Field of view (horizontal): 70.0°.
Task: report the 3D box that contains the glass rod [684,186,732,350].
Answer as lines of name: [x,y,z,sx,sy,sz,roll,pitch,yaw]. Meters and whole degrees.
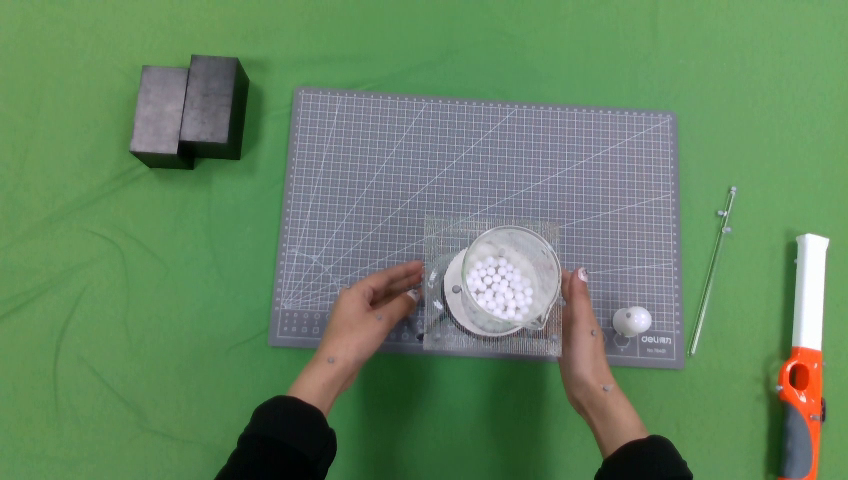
glass rod: [0.321,0.029,0.683,0.008,0.008,0.199,20,79,2]

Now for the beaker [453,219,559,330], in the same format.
beaker: [0.063,0.036,0.488,0.074,0.100,0.083,-28,79,-8]

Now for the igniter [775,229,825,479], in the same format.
igniter: [0.410,0.123,0.657,0.057,0.025,0.275,13,78,-10]

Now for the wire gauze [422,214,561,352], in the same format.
wire gauze: [0.059,0.036,0.537,0.125,0.011,0.121,2,76,1]

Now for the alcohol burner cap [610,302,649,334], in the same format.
alcohol burner cap: [0.222,0.082,0.648,0.034,0.048,0.033,0,76,-1]

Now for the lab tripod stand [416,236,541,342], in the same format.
lab tripod stand: [0.056,0.053,0.601,0.148,0.132,0.147,0,77,-1]

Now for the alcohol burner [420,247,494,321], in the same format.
alcohol burner: [0.035,0.042,0.612,0.078,0.119,0.077,1,76,-3]
